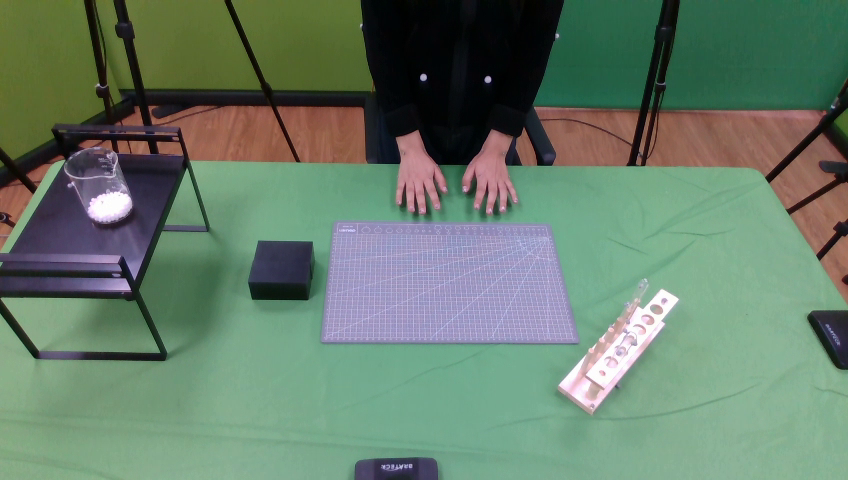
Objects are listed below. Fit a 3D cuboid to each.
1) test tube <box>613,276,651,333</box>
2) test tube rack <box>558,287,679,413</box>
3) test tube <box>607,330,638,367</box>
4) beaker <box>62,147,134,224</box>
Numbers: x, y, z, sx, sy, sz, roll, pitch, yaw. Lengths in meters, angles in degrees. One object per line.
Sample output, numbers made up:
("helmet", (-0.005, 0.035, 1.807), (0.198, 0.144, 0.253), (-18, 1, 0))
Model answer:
("test tube", (0.344, 0.109, 1.007), (0.017, 0.151, 0.017), (3, 49, -3))
("test tube rack", (0.326, 0.170, 1.009), (0.066, 0.085, 0.242), (36, 54, 27))
("test tube", (0.293, 0.184, 0.925), (0.017, 0.151, 0.017), (4, 49, -4))
("beaker", (-0.494, -0.080, 0.933), (0.084, 0.101, 0.074), (23, 49, 16))
